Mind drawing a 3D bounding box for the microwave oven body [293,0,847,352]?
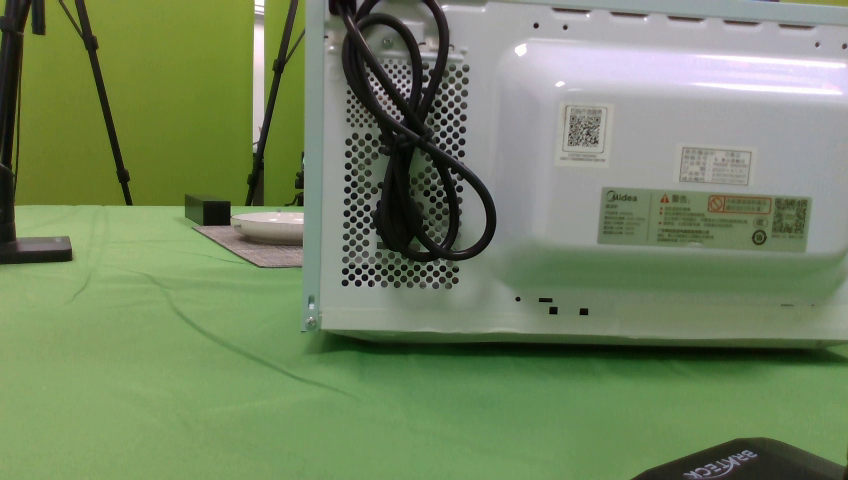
[{"bbox_3d":[0.122,-0.055,0.550,0.442,0.260,0.325,3,7,-5],"label":"microwave oven body"}]

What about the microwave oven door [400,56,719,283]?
[{"bbox_3d":[0.155,-0.078,0.698,0.356,0.243,0.039,2,8,-5],"label":"microwave oven door"}]

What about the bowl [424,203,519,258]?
[{"bbox_3d":[0.073,-0.015,0.962,0.151,0.077,0.151,3,8,0],"label":"bowl"}]

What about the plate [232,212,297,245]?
[{"bbox_3d":[-0.214,-0.019,1.018,0.208,0.039,0.207,2,7,0],"label":"plate"}]

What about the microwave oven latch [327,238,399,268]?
[{"bbox_3d":[-0.069,0.015,0.694,0.079,0.029,0.030,3,7,-3],"label":"microwave oven latch"}]
